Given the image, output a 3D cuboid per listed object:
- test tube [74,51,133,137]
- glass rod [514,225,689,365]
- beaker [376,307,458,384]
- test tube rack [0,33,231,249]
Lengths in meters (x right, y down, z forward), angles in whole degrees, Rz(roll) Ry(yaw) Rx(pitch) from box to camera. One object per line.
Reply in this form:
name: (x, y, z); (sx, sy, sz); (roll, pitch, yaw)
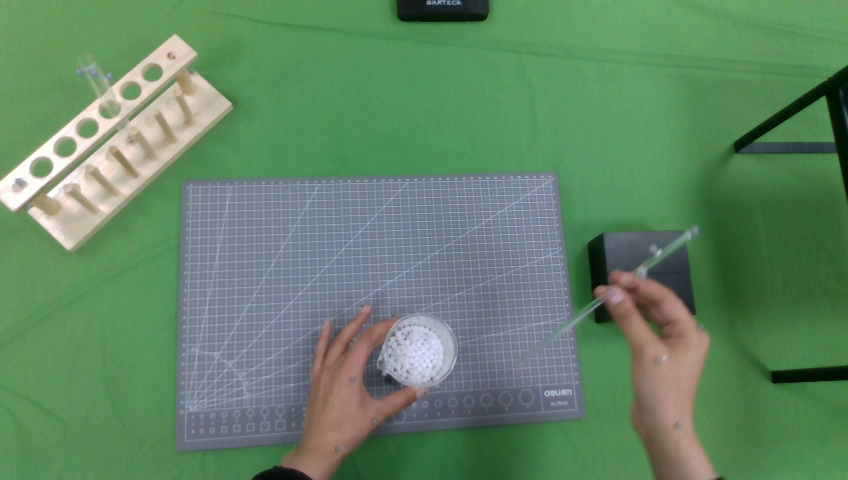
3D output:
test tube: (-0.324, -0.144, 0.621); (0.017, 0.150, 0.017); (3, 72, -10)
glass rod: (0.149, 0.053, 0.530); (0.008, 0.008, 0.200); (48, 116, 6)
beaker: (-0.013, 0.117, 0.641); (0.084, 0.100, 0.073); (-19, 79, -11)
test tube rack: (-0.330, -0.107, 0.662); (0.066, 0.085, 0.242); (41, 75, 5)
